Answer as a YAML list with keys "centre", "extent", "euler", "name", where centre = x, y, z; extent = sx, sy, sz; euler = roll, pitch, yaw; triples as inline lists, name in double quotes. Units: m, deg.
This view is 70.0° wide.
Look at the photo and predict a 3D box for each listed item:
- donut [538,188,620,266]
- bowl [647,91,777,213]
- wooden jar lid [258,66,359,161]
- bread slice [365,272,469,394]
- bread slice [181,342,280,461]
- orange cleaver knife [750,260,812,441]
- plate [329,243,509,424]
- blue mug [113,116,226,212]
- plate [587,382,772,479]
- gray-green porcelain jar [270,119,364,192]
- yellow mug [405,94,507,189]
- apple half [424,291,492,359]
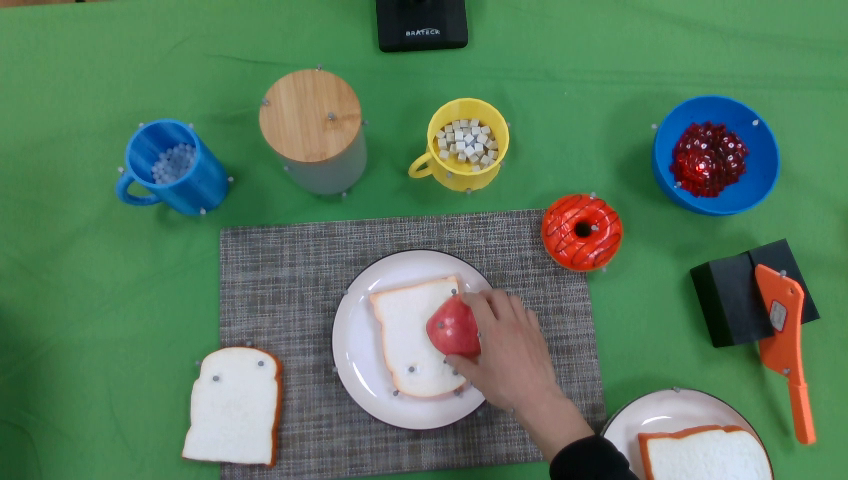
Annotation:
- centre: [0.189, -0.016, 0.742]
  extent: [0.099, 0.048, 0.098]
  euler: [0, 78, -2]
  name: "donut"
- centre: [0.342, -0.098, 0.752]
  extent: [0.151, 0.077, 0.150]
  euler: [0, 78, -1]
  name: "bowl"
- centre: [-0.124, -0.135, 0.656]
  extent: [0.108, 0.021, 0.108]
  euler: [0, 76, -1]
  name: "wooden jar lid"
- centre: [-0.001, 0.111, 0.711]
  extent: [0.107, 0.018, 0.133]
  euler: [-15, 79, -3]
  name: "bread slice"
- centre: [-0.220, 0.184, 0.699]
  extent: [0.105, 0.019, 0.131]
  euler: [4, 79, -2]
  name: "bread slice"
- centre: [0.413, 0.127, 0.703]
  extent: [0.012, 0.077, 0.212]
  euler: [-15, 100, -12]
  name: "orange cleaver knife"
- centre: [-0.006, 0.108, 0.712]
  extent: [0.208, 0.039, 0.206]
  euler: [0, 77, -2]
  name: "plate"
- centre: [-0.303, -0.079, 0.712]
  extent: [0.116, 0.106, 0.082]
  euler: [-30, 79, -8]
  name: "blue mug"
- centre: [0.286, 0.268, 0.691]
  extent: [0.209, 0.038, 0.208]
  euler: [0, 78, -2]
  name: "plate"
- centre: [-0.125, -0.120, 0.717]
  extent: [0.106, 0.127, 0.105]
  euler: [0, 77, -2]
  name: "gray-green porcelain jar"
- centre: [0.035, -0.114, 0.752]
  extent: [0.131, 0.064, 0.099]
  euler: [-27, 80, -7]
  name: "yellow mug"
- centre: [0.043, 0.094, 0.690]
  extent: [0.081, 0.033, 0.080]
  euler: [2, 68, -4]
  name: "apple half"
